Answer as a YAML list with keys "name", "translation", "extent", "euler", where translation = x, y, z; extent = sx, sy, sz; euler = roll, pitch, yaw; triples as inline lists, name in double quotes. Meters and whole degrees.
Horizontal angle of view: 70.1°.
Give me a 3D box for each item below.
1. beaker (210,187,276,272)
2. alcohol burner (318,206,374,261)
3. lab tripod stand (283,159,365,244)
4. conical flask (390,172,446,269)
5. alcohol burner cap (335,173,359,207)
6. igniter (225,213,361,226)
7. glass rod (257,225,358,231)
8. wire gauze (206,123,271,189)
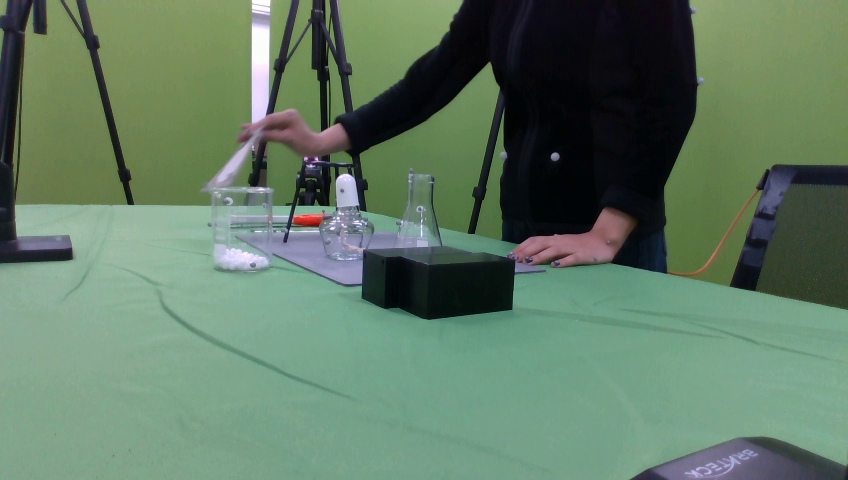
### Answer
- name: "beaker"
  translation: [-0.224, -0.014, 0.738]
  extent: [0.084, 0.100, 0.074]
  euler: [4, 7, 16]
- name: "alcohol burner"
  translation: [-0.107, -0.032, 0.833]
  extent: [0.078, 0.119, 0.078]
  euler: [1, 6, 0]
- name: "lab tripod stand"
  translation: [-0.151, -0.063, 0.983]
  extent: [0.148, 0.131, 0.148]
  euler: [4, 7, 0]
- name: "conical flask"
  translation: [-0.006, -0.027, 0.790]
  extent: [0.075, 0.122, 0.075]
  euler: [2, 7, 0]
- name: "alcohol burner cap"
  translation: [-0.108, -0.068, 0.829]
  extent: [0.034, 0.048, 0.034]
  euler: [-7, 4, 1]
- name: "igniter"
  translation: [-0.257, -0.042, 1.221]
  extent: [0.278, 0.025, 0.057]
  euler: [-2, -2, -32]
- name: "glass rod"
  translation: [-0.216, -0.022, 1.152]
  extent: [0.201, 0.008, 0.008]
  euler: [-2, 8, -28]
- name: "wire gauze"
  translation: [-0.305, -0.135, 0.999]
  extent: [0.011, 0.121, 0.124]
  euler: [41, -28, -27]
